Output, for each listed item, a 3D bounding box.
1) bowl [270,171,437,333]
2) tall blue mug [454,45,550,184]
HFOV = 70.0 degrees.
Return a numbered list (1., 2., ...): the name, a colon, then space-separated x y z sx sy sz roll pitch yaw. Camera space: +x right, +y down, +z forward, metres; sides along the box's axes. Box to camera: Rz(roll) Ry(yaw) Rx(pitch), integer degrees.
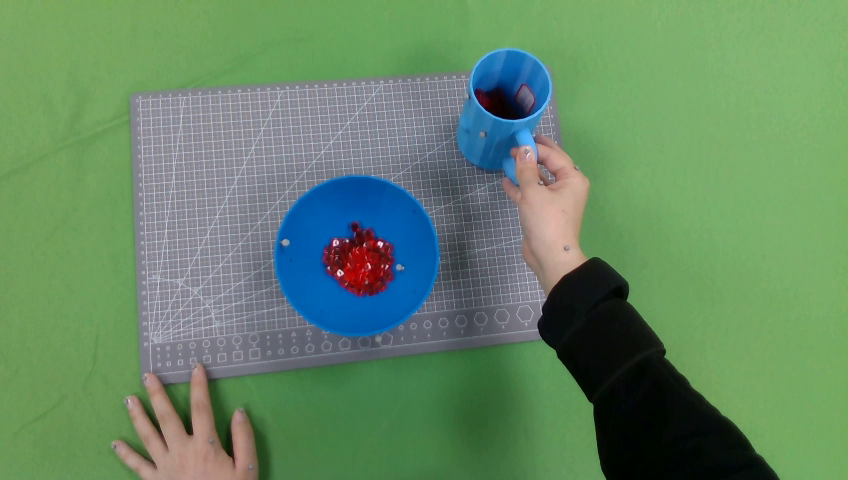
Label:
1. bowl: -0.065 0.016 0.585 0.151 0.077 0.151 1 81 -5
2. tall blue mug: 0.085 -0.119 0.601 0.107 0.108 0.077 43 75 8
